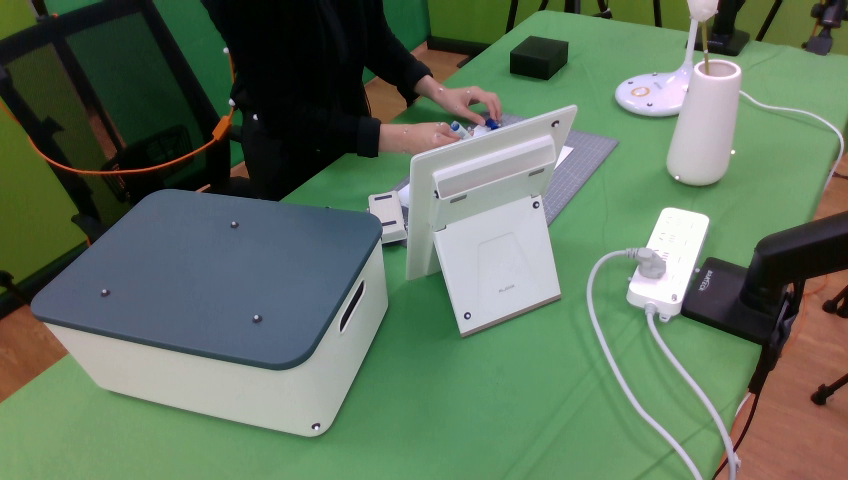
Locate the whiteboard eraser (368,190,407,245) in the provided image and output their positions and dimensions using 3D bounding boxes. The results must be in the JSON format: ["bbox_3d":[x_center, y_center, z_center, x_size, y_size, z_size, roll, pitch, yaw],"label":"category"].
[{"bbox_3d":[-0.061,-0.035,1.006,0.056,0.042,0.112,-9,40,-3],"label":"whiteboard eraser"}]

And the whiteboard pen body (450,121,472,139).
[{"bbox_3d":[0.074,-0.171,1.015,0.017,0.142,0.017,-4,80,22],"label":"whiteboard pen body"}]

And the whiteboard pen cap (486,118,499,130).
[{"bbox_3d":[0.139,-0.233,1.229,0.018,0.018,0.033,-16,40,-11],"label":"whiteboard pen cap"}]

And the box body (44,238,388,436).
[{"bbox_3d":[-0.251,0.088,0.799,0.362,0.161,0.254,7,42,16],"label":"box body"}]

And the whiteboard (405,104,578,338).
[{"bbox_3d":[0.102,0.003,0.787,0.218,0.306,0.143,-19,62,-14],"label":"whiteboard"}]

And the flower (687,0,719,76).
[{"bbox_3d":[0.436,-0.242,0.934,0.038,0.364,0.043,-24,49,9],"label":"flower"}]

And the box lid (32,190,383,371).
[{"bbox_3d":[-0.257,0.032,0.750,0.370,0.015,0.263,7,42,16],"label":"box lid"}]

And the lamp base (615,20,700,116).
[{"bbox_3d":[0.484,-0.364,1.211,0.180,0.181,0.159,-15,41,-14],"label":"lamp base"}]

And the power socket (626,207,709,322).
[{"bbox_3d":[0.360,0.026,0.886,0.072,0.033,0.227,17,46,27],"label":"power socket"}]

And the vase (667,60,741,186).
[{"bbox_3d":[0.463,-0.189,0.994,0.098,0.201,0.097,-4,40,4],"label":"vase"}]

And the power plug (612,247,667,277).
[{"bbox_3d":[0.306,0.031,0.852,0.072,0.053,0.035,21,48,37],"label":"power plug"}]
